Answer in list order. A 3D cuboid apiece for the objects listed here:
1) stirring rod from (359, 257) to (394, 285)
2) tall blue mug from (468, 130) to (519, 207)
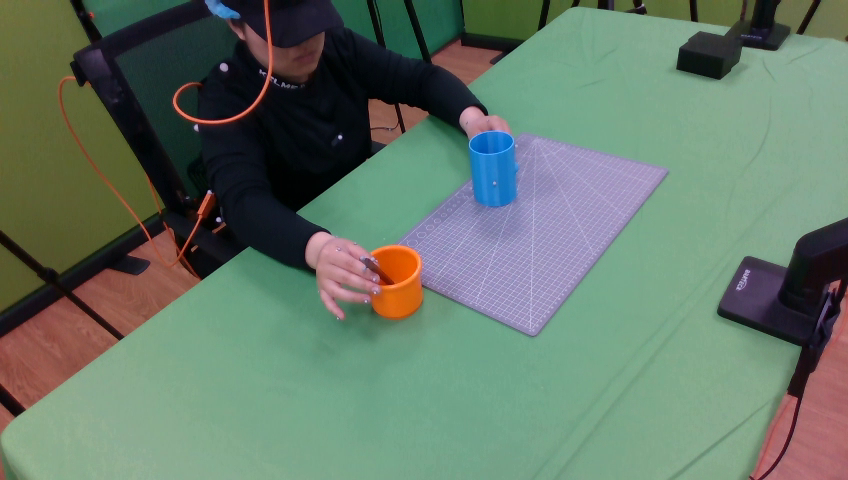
[{"bbox_3d":[-0.064,0.045,0.833,0.014,0.177,0.006,6,77,9],"label":"stirring rod"},{"bbox_3d":[0.114,-0.131,1.045,0.078,0.108,0.106,-20,41,-11],"label":"tall blue mug"}]
